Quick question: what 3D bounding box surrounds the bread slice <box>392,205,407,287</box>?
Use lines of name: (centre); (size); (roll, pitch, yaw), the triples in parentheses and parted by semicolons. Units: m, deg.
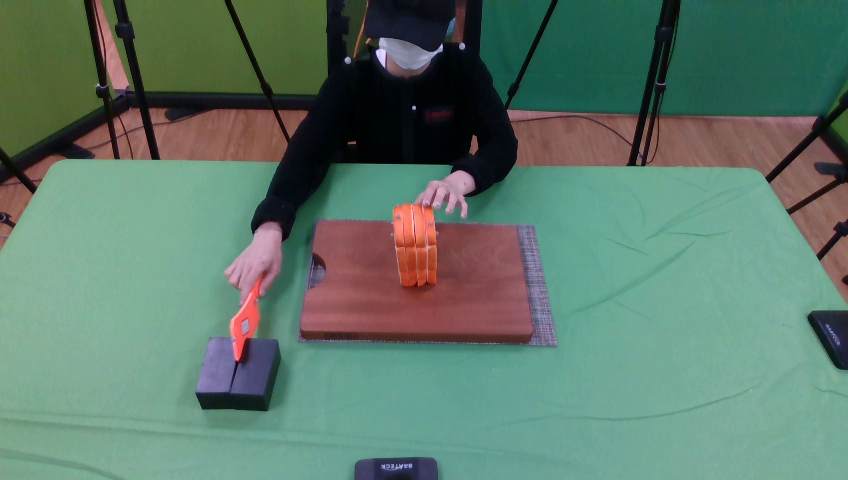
bread slice: (-0.044, 0.003, 1.078); (0.019, 0.132, 0.104); (-5, 46, 0)

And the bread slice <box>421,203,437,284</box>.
bread slice: (0.008, 0.002, 1.079); (0.018, 0.135, 0.106); (-6, 52, -4)

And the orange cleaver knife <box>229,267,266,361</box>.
orange cleaver knife: (-0.293, 0.119, 1.019); (0.012, 0.077, 0.210); (-3, 28, 2)
